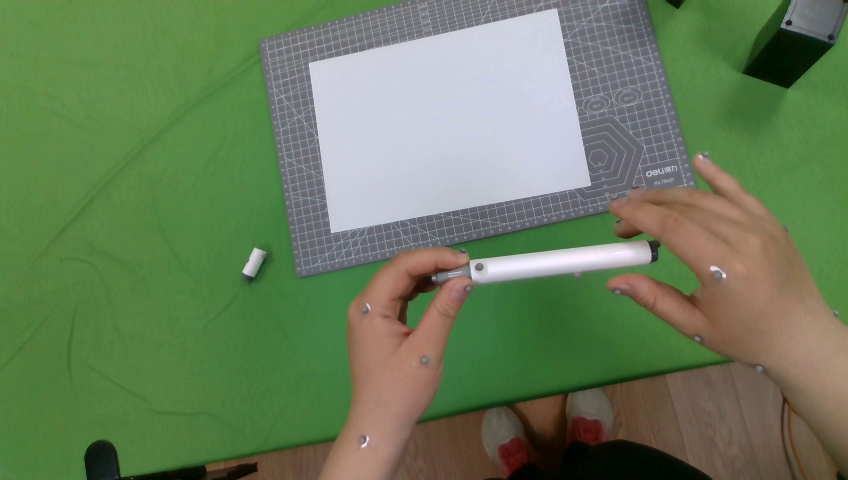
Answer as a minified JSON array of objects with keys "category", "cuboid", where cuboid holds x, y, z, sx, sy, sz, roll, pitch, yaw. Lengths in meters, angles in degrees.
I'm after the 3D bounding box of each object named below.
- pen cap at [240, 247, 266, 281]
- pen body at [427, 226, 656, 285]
[{"category":"pen cap","cuboid":[-0.198,0.028,0.701,0.017,0.017,0.038,26,86,12]},{"category":"pen body","cuboid":[0.073,0.012,0.381,0.144,0.017,0.017,-11,80,1]}]
